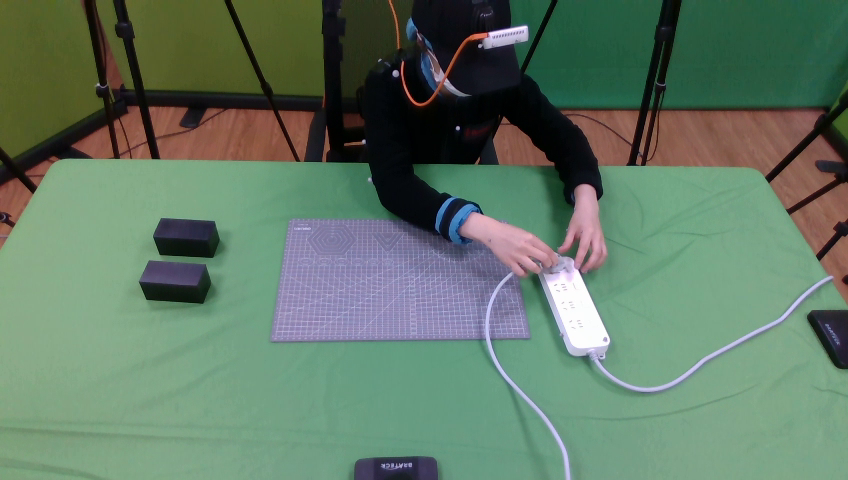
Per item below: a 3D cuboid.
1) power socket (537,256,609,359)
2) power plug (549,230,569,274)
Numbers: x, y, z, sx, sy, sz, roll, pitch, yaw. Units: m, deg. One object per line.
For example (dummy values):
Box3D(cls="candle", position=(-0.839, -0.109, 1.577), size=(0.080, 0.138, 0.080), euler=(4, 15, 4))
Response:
Box3D(cls="power socket", position=(0.266, 0.115, 1.097), size=(0.072, 0.033, 0.225), euler=(-5, 47, -8))
Box3D(cls="power plug", position=(0.244, 0.025, 1.103), size=(0.035, 0.073, 0.052), euler=(-9, 25, 10))
